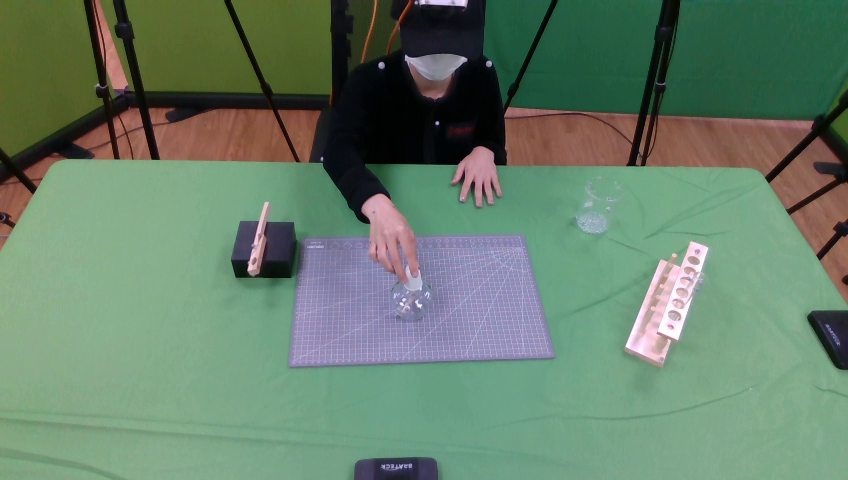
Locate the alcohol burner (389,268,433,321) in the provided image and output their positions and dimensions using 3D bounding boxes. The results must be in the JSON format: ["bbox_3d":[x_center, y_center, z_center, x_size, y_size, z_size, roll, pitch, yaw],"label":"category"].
[{"bbox_3d":[-0.022,0.085,1.046,0.078,0.119,0.077,2,48,-3],"label":"alcohol burner"}]

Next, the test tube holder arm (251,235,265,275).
[{"bbox_3d":[-0.297,0.025,1.085,0.010,0.015,0.087,-5,45,1],"label":"test tube holder arm"}]

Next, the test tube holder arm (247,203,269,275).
[{"bbox_3d":[-0.304,-0.006,1.116,0.013,0.015,0.177,-5,45,1],"label":"test tube holder arm"}]

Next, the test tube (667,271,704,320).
[{"bbox_3d":[0.432,0.104,1.019,0.017,0.151,0.017,3,48,-3],"label":"test tube"}]

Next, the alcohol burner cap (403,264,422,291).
[{"bbox_3d":[-0.021,0.060,1.022,0.034,0.048,0.033,-2,46,2],"label":"alcohol burner cap"}]

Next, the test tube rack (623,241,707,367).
[{"bbox_3d":[0.435,0.104,1.089,0.066,0.085,0.242,24,49,19],"label":"test tube rack"}]

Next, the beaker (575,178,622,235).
[{"bbox_3d":[0.356,-0.068,1.240,0.084,0.101,0.073,-18,50,-21],"label":"beaker"}]
